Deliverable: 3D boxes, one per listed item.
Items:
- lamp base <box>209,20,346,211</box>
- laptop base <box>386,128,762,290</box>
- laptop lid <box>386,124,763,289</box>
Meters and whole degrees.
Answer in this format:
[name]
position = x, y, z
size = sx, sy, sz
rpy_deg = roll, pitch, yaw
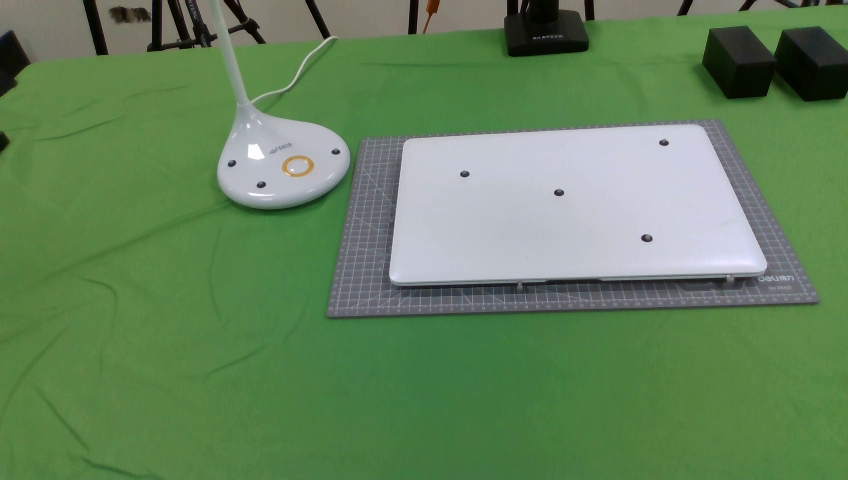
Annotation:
[lamp base]
position = -0.191, -0.151, 0.693
size = 0.177, 0.182, 0.160
rpy_deg = 27, 53, 33
[laptop base]
position = 0.142, -0.038, 0.653
size = 0.354, 0.023, 0.233
rpy_deg = -2, 47, 4
[laptop lid]
position = 0.141, -0.045, 0.643
size = 0.356, 0.013, 0.239
rpy_deg = -1, 46, 6
